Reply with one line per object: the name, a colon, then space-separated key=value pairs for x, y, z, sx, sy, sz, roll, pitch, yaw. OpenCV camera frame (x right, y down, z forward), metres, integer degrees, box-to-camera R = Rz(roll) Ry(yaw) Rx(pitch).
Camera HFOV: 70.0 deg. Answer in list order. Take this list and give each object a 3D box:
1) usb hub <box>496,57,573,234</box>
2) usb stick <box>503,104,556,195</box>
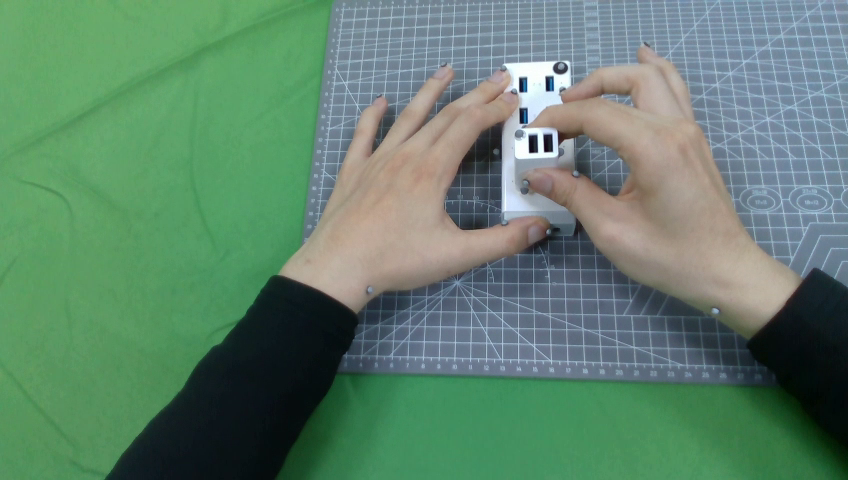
usb hub: x=0.075 y=-0.066 z=0.415 sx=0.049 sy=0.025 sz=0.124 roll=0 pitch=71 yaw=6
usb stick: x=0.064 y=-0.055 z=0.363 sx=0.027 sy=0.060 sz=0.021 roll=-29 pitch=58 yaw=-8
